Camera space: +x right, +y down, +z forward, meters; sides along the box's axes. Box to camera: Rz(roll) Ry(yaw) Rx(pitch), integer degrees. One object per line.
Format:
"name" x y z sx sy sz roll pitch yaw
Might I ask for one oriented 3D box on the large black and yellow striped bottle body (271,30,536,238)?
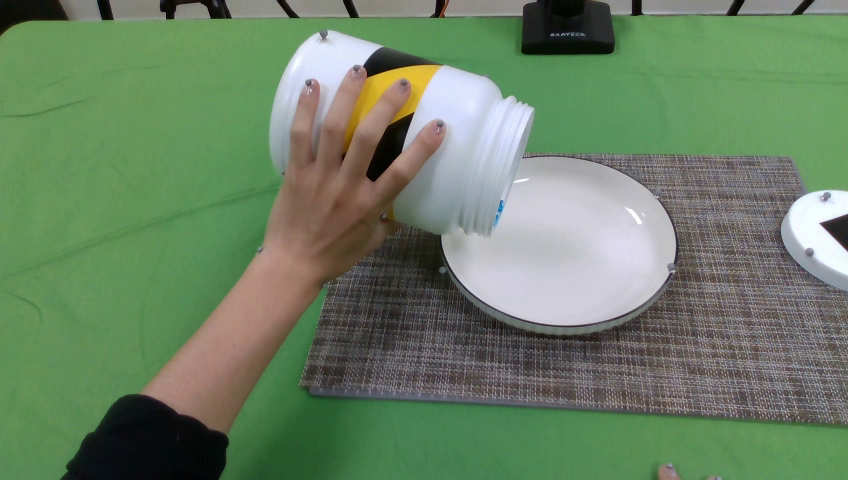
"large black and yellow striped bottle body" -0.013 -0.082 0.492 0.183 0.132 0.130 19 52 8

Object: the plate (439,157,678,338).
"plate" 0.118 0.005 0.548 0.207 0.039 0.205 -2 48 3

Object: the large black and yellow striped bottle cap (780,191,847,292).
"large black and yellow striped bottle cap" 0.384 0.000 0.543 0.115 0.019 0.114 0 49 0
